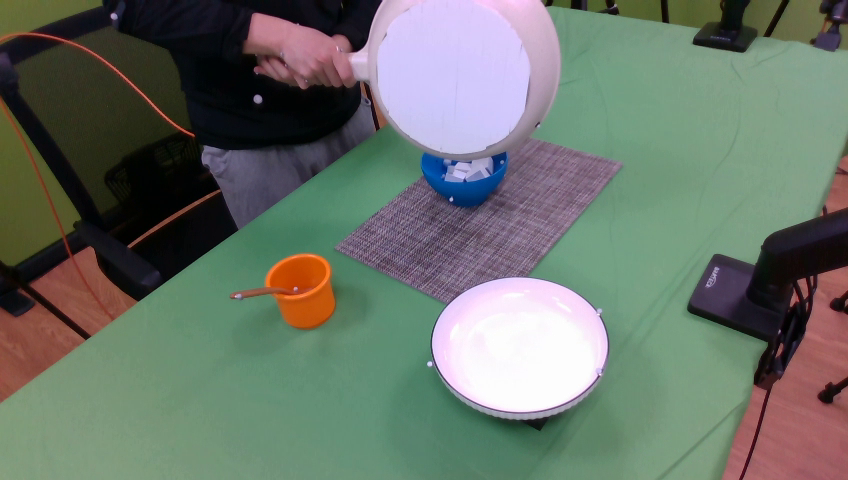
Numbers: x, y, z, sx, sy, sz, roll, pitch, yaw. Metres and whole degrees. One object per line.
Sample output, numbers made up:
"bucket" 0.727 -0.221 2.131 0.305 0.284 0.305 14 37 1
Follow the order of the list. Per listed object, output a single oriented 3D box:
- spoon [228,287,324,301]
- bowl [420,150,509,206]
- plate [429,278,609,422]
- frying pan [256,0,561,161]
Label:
"spoon" -0.197 0.071 0.816 0.041 0.195 0.021 12 88 23
"bowl" 0.071 -0.112 1.038 0.151 0.077 0.150 -4 40 4
"plate" 0.111 0.129 0.716 0.207 0.039 0.206 -5 39 4
"frying pan" -0.047 -0.258 0.914 0.485 0.308 0.103 9 34 22
